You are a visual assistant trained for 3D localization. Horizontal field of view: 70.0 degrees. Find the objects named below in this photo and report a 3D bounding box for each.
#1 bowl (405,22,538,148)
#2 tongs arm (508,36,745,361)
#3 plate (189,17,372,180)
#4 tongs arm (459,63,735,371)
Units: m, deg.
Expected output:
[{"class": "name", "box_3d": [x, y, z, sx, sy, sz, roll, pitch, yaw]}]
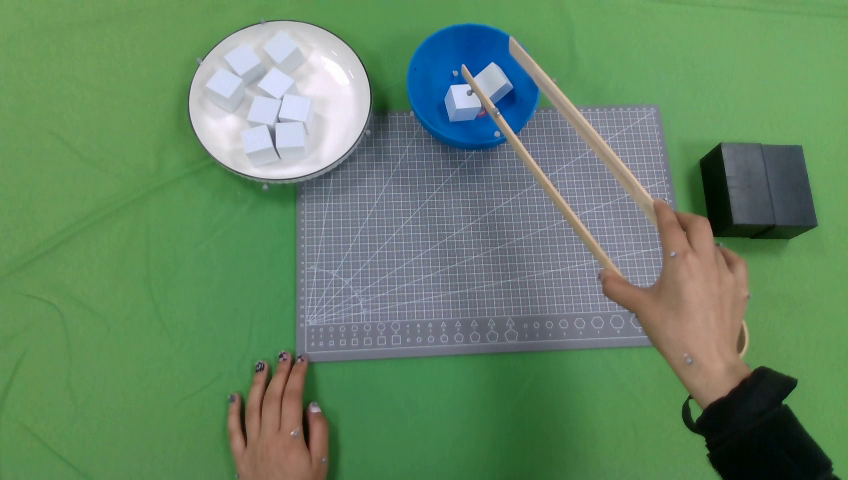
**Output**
[{"class": "bowl", "box_3d": [0.051, -0.166, 0.707, 0.151, 0.077, 0.150, 1, 74, -4]}, {"class": "tongs arm", "box_3d": [0.178, -0.058, 0.575, 0.028, 0.028, 0.384, -27, 67, -8]}, {"class": "plate", "box_3d": [-0.164, -0.163, 0.712, 0.208, 0.039, 0.206, 1, 74, -3]}, {"class": "tongs arm", "box_3d": [0.146, -0.040, 0.573, 0.051, 0.027, 0.381, -28, 67, -5]}]
